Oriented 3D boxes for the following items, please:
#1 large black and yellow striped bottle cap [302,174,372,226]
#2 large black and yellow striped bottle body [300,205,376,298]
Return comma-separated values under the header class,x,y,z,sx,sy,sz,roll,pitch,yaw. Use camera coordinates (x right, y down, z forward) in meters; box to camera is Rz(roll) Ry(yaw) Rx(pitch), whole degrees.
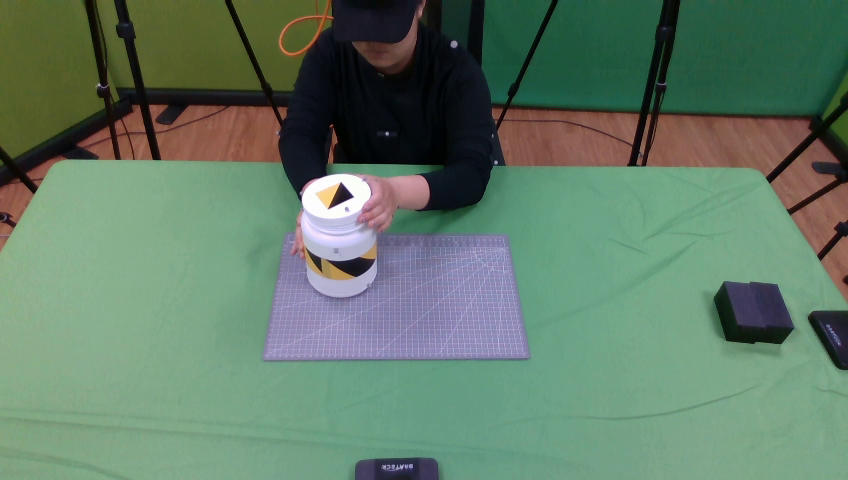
class,x,y,z,sx,sy,sz,roll,pitch,yaw
large black and yellow striped bottle cap,-0.145,-0.068,1.004,0.115,0.019,0.114,-2,44,2
large black and yellow striped bottle body,-0.150,-0.001,1.072,0.131,0.185,0.130,2,46,-2
